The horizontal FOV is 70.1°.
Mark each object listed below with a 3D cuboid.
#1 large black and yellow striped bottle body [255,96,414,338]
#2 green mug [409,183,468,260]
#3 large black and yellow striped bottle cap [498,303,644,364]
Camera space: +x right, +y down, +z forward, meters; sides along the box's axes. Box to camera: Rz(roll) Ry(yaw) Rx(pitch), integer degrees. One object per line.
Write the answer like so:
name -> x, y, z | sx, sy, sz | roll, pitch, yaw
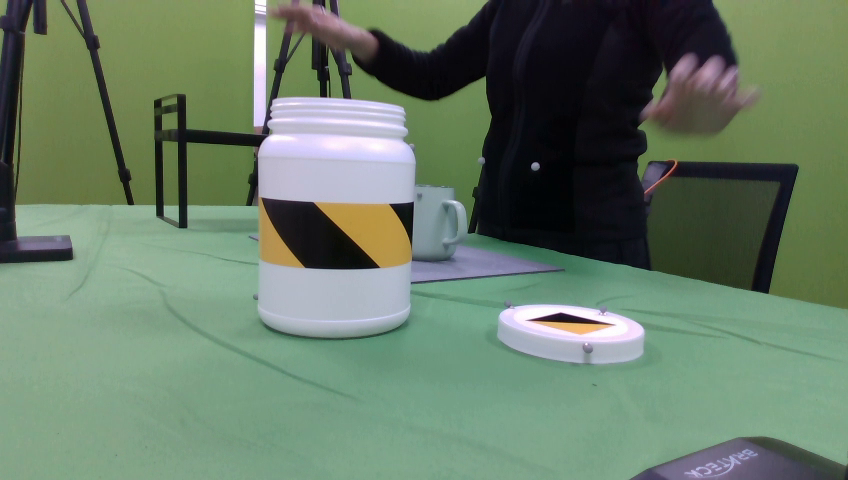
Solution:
large black and yellow striped bottle body -> -0.074, -0.022, 0.508 | 0.131, 0.184, 0.130 | 2, 7, 0
green mug -> 0.014, -0.026, 0.859 | 0.093, 0.105, 0.124 | -4, 11, -43
large black and yellow striped bottle cap -> 0.117, 0.072, 0.487 | 0.115, 0.019, 0.115 | 1, 8, 0
